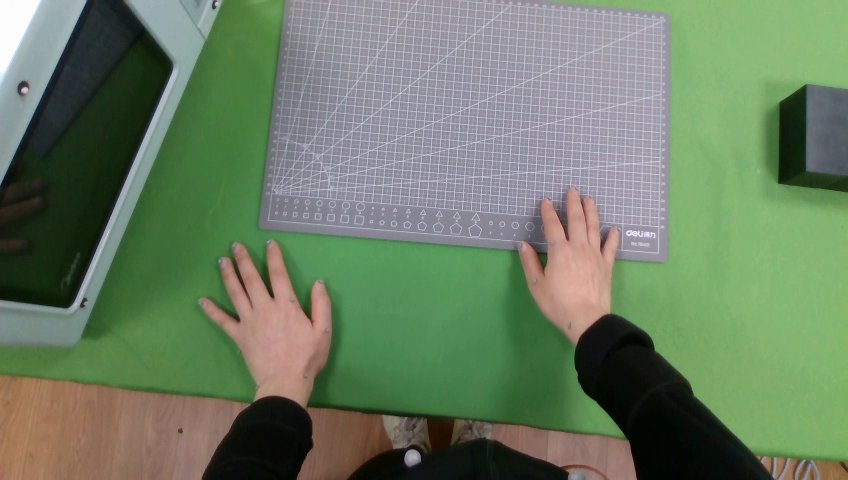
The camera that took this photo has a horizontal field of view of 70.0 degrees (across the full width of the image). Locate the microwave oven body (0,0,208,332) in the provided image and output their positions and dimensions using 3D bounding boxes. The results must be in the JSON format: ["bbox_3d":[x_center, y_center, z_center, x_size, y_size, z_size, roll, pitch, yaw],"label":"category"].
[{"bbox_3d":[-0.434,-0.169,0.540,0.326,0.261,0.440,19,81,0],"label":"microwave oven body"}]

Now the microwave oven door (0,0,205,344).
[{"bbox_3d":[-0.309,-0.084,0.526,0.039,0.244,0.354,18,80,1],"label":"microwave oven door"}]

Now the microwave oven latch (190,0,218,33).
[{"bbox_3d":[-0.241,-0.270,0.663,0.030,0.029,0.079,20,81,1],"label":"microwave oven latch"}]
